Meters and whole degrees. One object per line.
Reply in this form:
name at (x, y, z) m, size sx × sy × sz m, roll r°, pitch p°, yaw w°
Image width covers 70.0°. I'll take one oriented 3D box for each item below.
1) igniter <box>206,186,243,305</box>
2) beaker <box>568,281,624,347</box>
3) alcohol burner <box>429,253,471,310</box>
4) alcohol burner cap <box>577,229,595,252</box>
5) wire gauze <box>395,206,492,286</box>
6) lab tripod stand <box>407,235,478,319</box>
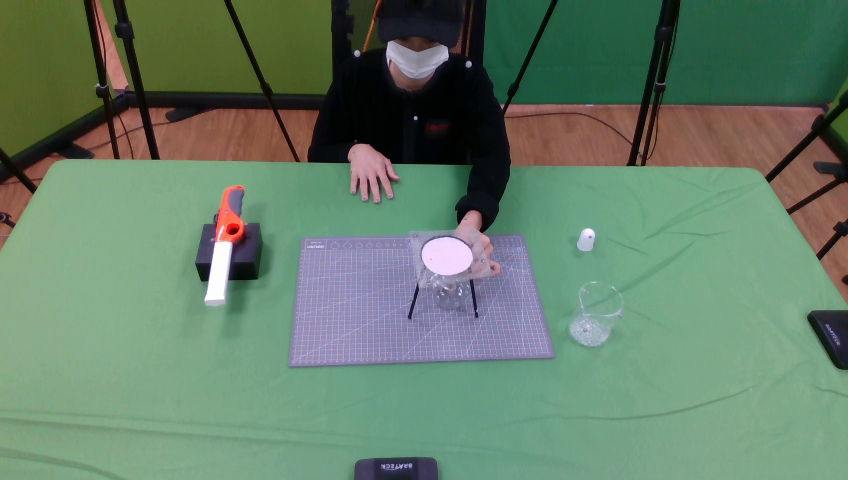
igniter at (-0.361, 0.001, 1.100) m, size 0.057 × 0.025 × 0.274 m, roll -2°, pitch 49°, yaw -6°
beaker at (0.290, 0.132, 1.041) m, size 0.084 × 0.101 × 0.073 m, roll -34°, pitch 57°, yaw -30°
alcohol burner at (0.048, 0.068, 1.069) m, size 0.078 × 0.120 × 0.077 m, roll 1°, pitch 46°, yaw -1°
alcohol burner cap at (0.326, -0.002, 1.213) m, size 0.034 × 0.048 × 0.033 m, roll 1°, pitch 48°, yaw -1°
wire gauze at (0.031, 0.010, 0.993) m, size 0.125 × 0.011 × 0.120 m, roll -24°, pitch 57°, yaw -17°
lab tripod stand at (0.032, 0.065, 1.057) m, size 0.148 × 0.132 × 0.147 m, roll 1°, pitch 45°, yaw -1°
